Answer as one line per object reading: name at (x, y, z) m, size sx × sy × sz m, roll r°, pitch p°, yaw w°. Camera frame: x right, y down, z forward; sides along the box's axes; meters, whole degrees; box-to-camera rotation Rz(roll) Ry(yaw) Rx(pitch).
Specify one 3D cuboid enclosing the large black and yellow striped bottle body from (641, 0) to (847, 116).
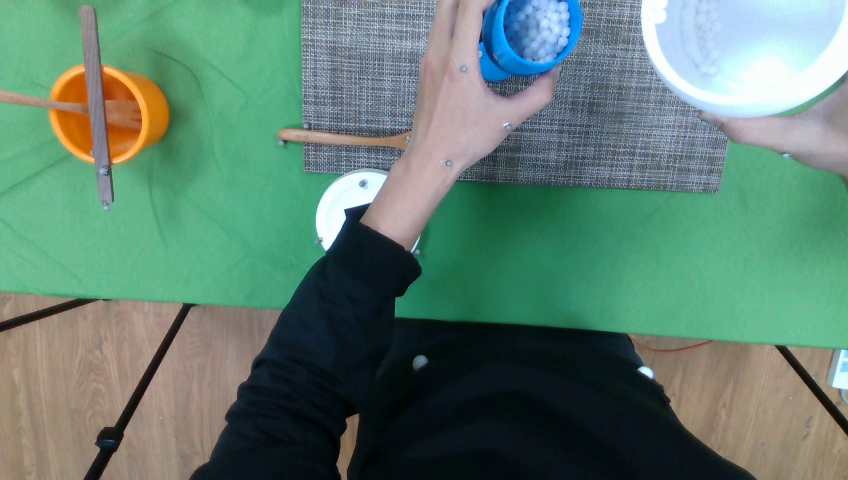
large black and yellow striped bottle body at (0.221, -0.153, 0.400) m, size 0.130 × 0.184 × 0.131 m, roll 11°, pitch 112°, yaw 31°

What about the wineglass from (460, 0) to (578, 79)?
wineglass at (0.075, -0.178, 0.526) m, size 0.074 × 0.171 × 0.074 m, roll -1°, pitch 102°, yaw -5°

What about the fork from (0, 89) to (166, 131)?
fork at (-0.341, -0.125, 0.550) m, size 0.209 × 0.018 × 0.028 m, roll 1°, pitch 119°, yaw -47°

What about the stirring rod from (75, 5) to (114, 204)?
stirring rod at (-0.298, -0.119, 0.550) m, size 0.014 × 0.006 × 0.177 m, roll 2°, pitch 107°, yaw -1°

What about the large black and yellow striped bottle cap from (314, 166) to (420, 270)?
large black and yellow striped bottle cap at (-0.061, -0.022, 0.657) m, size 0.115 × 0.018 × 0.115 m, roll -1°, pitch 110°, yaw -2°

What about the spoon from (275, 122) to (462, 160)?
spoon at (-0.058, -0.106, 0.625) m, size 0.194 × 0.021 × 0.042 m, roll 2°, pitch 126°, yaw -2°
